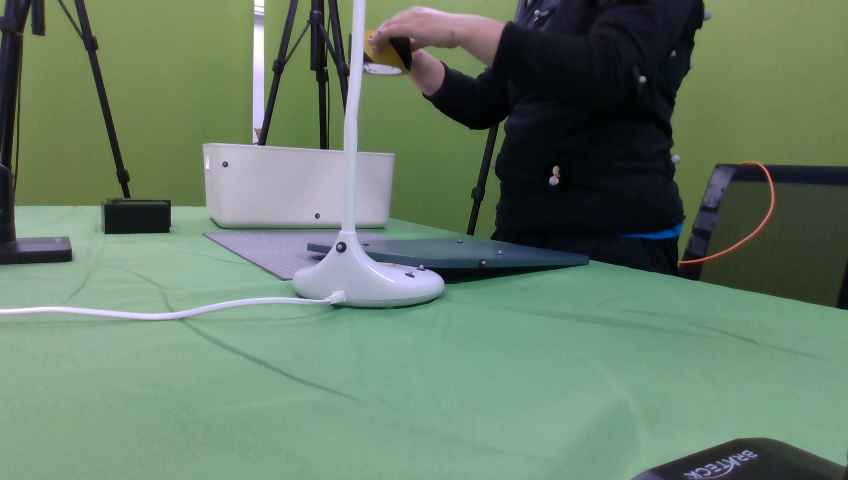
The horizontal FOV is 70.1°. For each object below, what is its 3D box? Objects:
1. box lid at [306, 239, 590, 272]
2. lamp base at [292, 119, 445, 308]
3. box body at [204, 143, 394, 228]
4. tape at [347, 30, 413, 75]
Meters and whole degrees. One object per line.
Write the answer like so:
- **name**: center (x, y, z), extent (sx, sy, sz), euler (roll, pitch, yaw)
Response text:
- **box lid**: center (0.042, 0.019, 0.879), extent (0.262, 0.015, 0.374), euler (7, 6, 44)
- **lamp base**: center (-0.056, -0.030, 0.616), extent (0.160, 0.180, 0.179), euler (4, 10, 8)
- **box body**: center (-0.271, -0.117, 1.291), extent (0.366, 0.160, 0.253), euler (-1, 8, -25)
- **tape**: center (-0.076, -0.320, 1.038), extent (0.117, 0.052, 0.117), euler (4, 4, 0)
